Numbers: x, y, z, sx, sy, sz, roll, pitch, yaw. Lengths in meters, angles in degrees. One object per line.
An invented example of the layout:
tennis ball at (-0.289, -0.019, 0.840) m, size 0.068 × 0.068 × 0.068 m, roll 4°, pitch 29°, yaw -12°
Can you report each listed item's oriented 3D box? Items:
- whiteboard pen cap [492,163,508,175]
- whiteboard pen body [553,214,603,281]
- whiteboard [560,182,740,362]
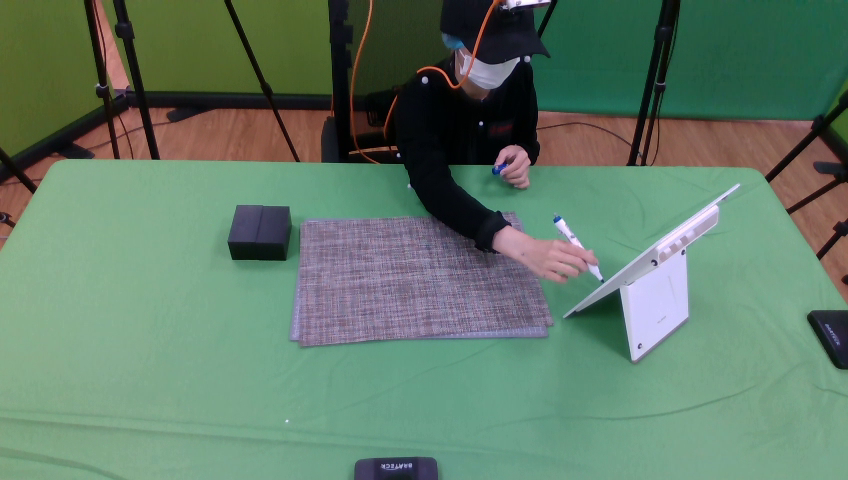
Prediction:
whiteboard pen cap at (0.162, -0.154, 1.303) m, size 0.033 × 0.018 × 0.018 m, roll -24°, pitch 52°, yaw -15°
whiteboard pen body at (0.263, 0.015, 1.022) m, size 0.141 × 0.017 × 0.017 m, roll 52°, pitch 55°, yaw -7°
whiteboard at (0.406, 0.075, 1.001) m, size 0.217 × 0.306 × 0.143 m, roll -28°, pitch 73°, yaw -28°
